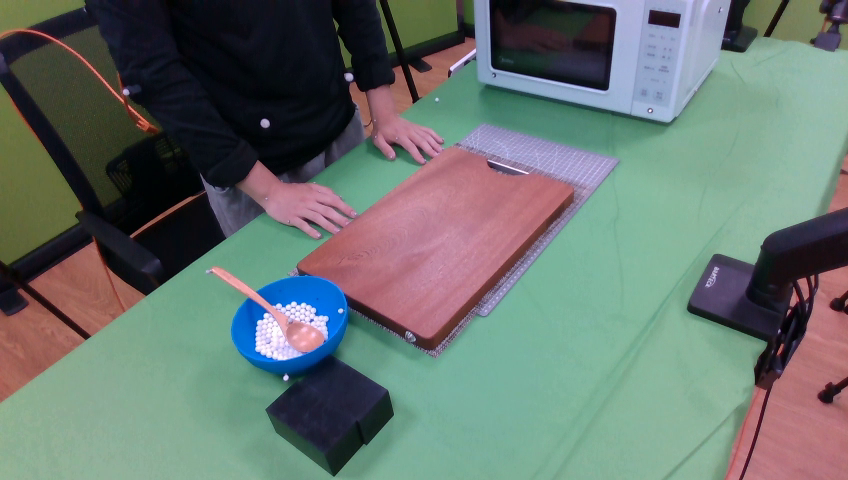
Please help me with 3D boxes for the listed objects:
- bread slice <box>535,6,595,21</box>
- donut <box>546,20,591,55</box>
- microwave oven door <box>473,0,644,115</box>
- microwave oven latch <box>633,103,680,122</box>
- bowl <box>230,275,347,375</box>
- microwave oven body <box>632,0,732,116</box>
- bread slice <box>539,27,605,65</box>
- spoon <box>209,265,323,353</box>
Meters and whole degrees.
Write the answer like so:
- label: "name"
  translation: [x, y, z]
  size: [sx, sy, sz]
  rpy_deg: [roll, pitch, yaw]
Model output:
- label: "bread slice"
  translation: [0.302, -0.481, 1.278]
  size: [0.106, 0.018, 0.134]
  rpy_deg: [10, 29, 23]
- label: "donut"
  translation: [0.310, -0.436, 1.299]
  size: [0.099, 0.048, 0.098]
  rpy_deg: [-21, 35, 16]
- label: "microwave oven door"
  translation: [0.257, -0.396, 1.199]
  size: [0.353, 0.245, 0.039]
  rpy_deg: [21, 48, 29]
- label: "microwave oven latch"
  translation: [0.443, -0.249, 1.157]
  size: [0.078, 0.029, 0.030]
  rpy_deg: [20, 48, 30]
- label: "bowl"
  translation: [-0.171, 0.125, 0.802]
  size: [0.151, 0.077, 0.150]
  rpy_deg: [-4, 40, 4]
- label: "microwave oven body"
  translation: [0.377, -0.462, 1.267]
  size: [0.438, 0.261, 0.327]
  rpy_deg: [21, 48, 30]
- label: "bread slice"
  translation: [0.332, -0.434, 1.339]
  size: [0.132, 0.019, 0.104]
  rpy_deg: [-42, 44, -22]
- label: "spoon"
  translation: [-0.213, 0.087, 0.806]
  size: [0.193, 0.021, 0.042]
  rpy_deg: [37, 56, 11]
